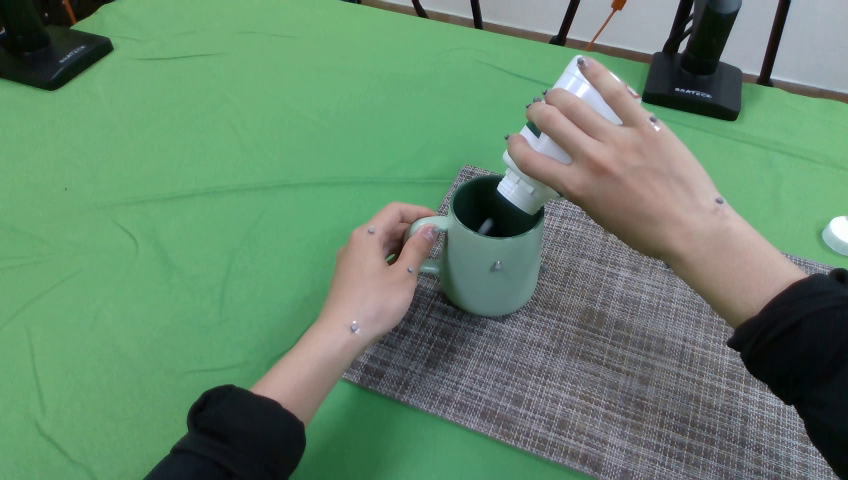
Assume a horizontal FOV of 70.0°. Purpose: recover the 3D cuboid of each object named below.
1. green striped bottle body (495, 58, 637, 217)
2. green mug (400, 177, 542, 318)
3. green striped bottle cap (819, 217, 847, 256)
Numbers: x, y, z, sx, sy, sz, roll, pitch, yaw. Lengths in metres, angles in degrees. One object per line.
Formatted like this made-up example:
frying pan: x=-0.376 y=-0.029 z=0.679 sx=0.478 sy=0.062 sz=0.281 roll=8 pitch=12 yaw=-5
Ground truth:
green striped bottle body: x=0.106 y=-0.077 z=0.480 sx=0.063 sy=0.119 sz=0.063 roll=33 pitch=15 yaw=-10
green mug: x=0.041 y=0.009 z=0.536 sx=0.125 sy=0.106 sz=0.091 roll=-3 pitch=48 yaw=-3
green striped bottle cap: x=0.433 y=-0.003 z=0.621 sx=0.044 sy=0.020 sz=0.044 roll=2 pitch=44 yaw=-2
